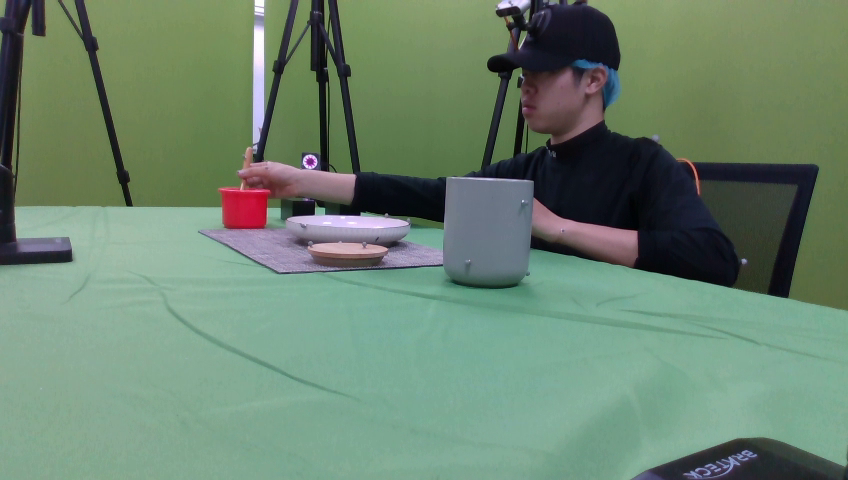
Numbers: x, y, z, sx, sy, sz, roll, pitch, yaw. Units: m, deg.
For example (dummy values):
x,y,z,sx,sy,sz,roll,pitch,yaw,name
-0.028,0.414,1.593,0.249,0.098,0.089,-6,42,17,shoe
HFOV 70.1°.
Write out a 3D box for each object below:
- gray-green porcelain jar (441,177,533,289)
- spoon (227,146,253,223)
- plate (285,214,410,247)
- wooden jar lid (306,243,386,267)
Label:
x,y,z,sx,sy,sz,roll,pitch,yaw,name
0.075,-0.010,0.727,0.106,0.126,0.106,2,7,0,gray-green porcelain jar
-0.365,-0.115,1.219,0.042,0.193,0.021,3,-37,-8,spoon
-0.127,-0.015,1.012,0.208,0.039,0.207,3,7,0,plate
-0.105,0.020,0.816,0.108,0.020,0.108,1,7,0,wooden jar lid
